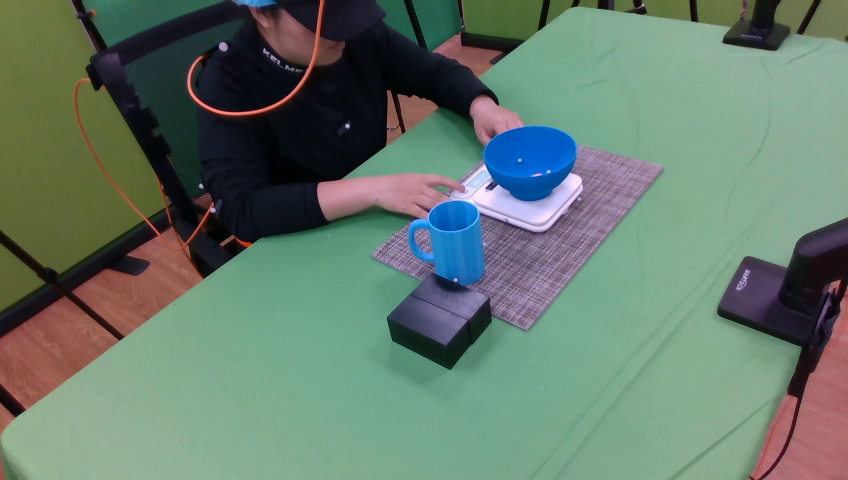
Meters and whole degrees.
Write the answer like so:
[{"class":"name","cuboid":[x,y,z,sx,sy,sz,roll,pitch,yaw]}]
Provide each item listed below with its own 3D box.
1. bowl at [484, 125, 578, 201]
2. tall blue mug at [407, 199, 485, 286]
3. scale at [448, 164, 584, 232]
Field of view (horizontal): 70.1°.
[{"class":"bowl","cuboid":[0.175,-0.117,0.991,0.151,0.077,0.150,-6,41,5]},{"class":"tall blue mug","cuboid":[0.034,0.008,0.892,0.107,0.108,0.077,-13,41,-5]},{"class":"scale","cuboid":[0.156,-0.085,1.040,0.199,0.032,0.149,22,49,32]}]
